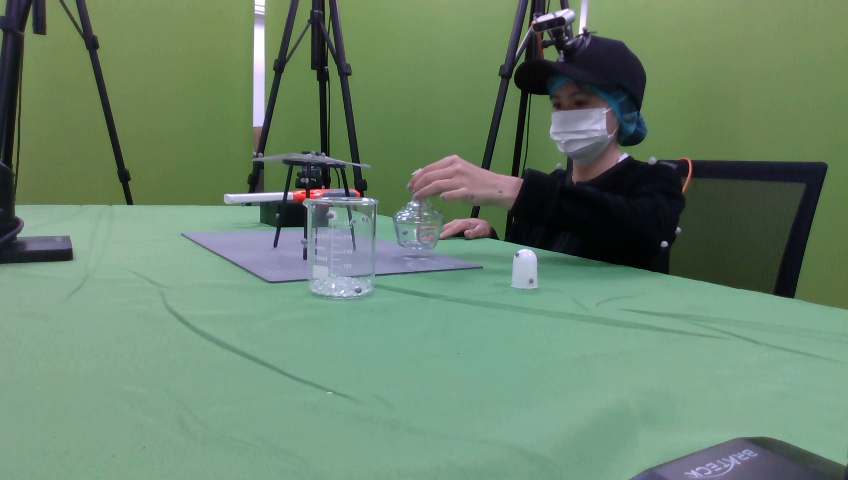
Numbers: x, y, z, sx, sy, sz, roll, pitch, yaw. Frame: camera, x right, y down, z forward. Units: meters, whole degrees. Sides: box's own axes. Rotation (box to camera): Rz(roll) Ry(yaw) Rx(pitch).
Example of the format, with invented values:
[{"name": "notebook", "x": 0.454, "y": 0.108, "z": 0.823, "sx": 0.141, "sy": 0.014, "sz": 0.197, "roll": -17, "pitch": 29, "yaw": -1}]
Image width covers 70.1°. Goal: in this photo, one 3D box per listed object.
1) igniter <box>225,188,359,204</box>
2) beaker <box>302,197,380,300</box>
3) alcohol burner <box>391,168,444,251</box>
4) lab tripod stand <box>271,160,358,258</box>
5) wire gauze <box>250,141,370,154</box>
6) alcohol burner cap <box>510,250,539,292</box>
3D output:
[{"name": "igniter", "x": -0.264, "y": -0.089, "z": 1.239, "sx": 0.278, "sy": 0.025, "sz": 0.057, "roll": -5, "pitch": 12, "yaw": -32}, {"name": "beaker", "x": -0.089, "y": 0.007, "z": 0.625, "sx": 0.084, "sy": 0.100, "sz": 0.074, "roll": 4, "pitch": 7, "yaw": 16}, {"name": "alcohol burner", "x": -0.009, "y": -0.045, "z": 0.874, "sx": 0.078, "sy": 0.119, "sz": 0.078, "roll": 2, "pitch": 8, "yaw": 0}, {"name": "lab tripod stand", "x": -0.159, "y": -0.048, "z": 0.876, "sx": 0.148, "sy": 0.131, "sz": 0.148, "roll": 3, "pitch": 5, "yaw": 0}, {"name": "wire gauze", "x": -0.163, "y": -0.131, "z": 0.867, "sx": 0.124, "sy": 0.011, "sz": 0.122, "roll": -1, "pitch": 8, "yaw": 32}, {"name": "alcohol burner cap", "x": 0.118, "y": 0.036, "z": 0.704, "sx": 0.034, "sy": 0.048, "sz": 0.034, "roll": 0, "pitch": 6, "yaw": 0}]
